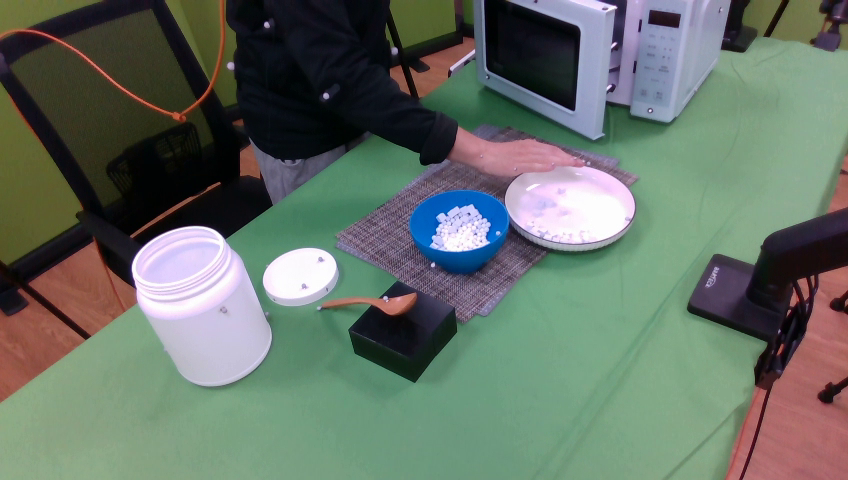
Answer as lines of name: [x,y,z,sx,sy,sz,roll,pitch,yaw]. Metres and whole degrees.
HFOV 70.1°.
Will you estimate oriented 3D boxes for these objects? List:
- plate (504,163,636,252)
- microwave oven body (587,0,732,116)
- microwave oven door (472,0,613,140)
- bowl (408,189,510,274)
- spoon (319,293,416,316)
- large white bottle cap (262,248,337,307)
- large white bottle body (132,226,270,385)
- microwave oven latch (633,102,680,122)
plate: [0.232,-0.050,0.976,0.209,0.038,0.208,-2,43,2]
microwave oven body: [0.377,-0.462,1.267,0.438,0.261,0.327,21,48,30]
microwave oven door: [0.216,-0.367,1.171,0.039,0.245,0.352,-28,45,-23]
bowl: [0.055,-0.002,0.914,0.151,0.077,0.150,-4,40,4]
spoon: [-0.082,0.086,0.826,0.192,0.022,0.041,-3,37,41]
large white bottle cap: [-0.193,0.056,0.934,0.115,0.018,0.114,-4,41,4]
large white bottle body: [-0.286,0.085,0.783,0.130,0.185,0.130,-4,41,4]
microwave oven latch: [0.443,-0.249,1.157,0.078,0.029,0.030,21,49,30]
